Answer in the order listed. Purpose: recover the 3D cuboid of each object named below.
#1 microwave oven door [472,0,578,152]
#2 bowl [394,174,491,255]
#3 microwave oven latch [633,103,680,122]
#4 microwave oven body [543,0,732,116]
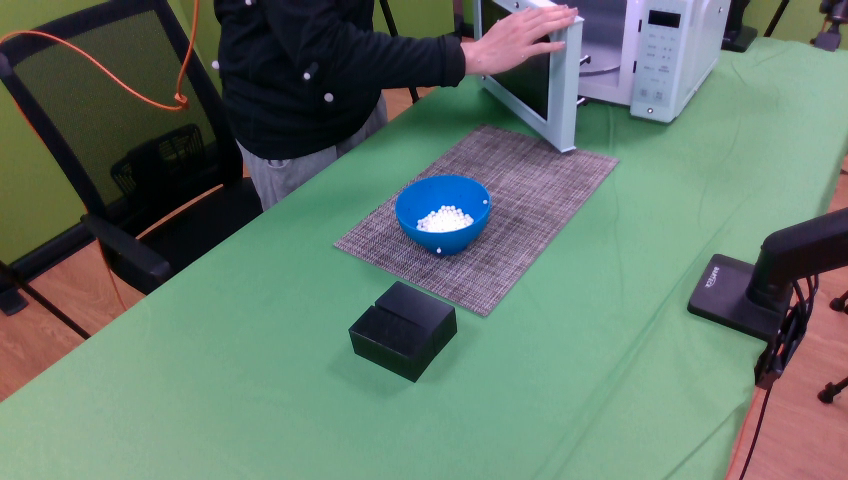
[{"bbox_3d":[0.186,-0.354,1.160,0.039,0.245,0.352,-20,42,-13],"label":"microwave oven door"},{"bbox_3d":[0.032,-0.030,0.949,0.151,0.077,0.150,-4,40,4],"label":"bowl"},{"bbox_3d":[0.443,-0.249,1.157,0.078,0.029,0.030,21,49,30],"label":"microwave oven latch"},{"bbox_3d":[0.377,-0.462,1.267,0.438,0.261,0.327,21,49,30],"label":"microwave oven body"}]
